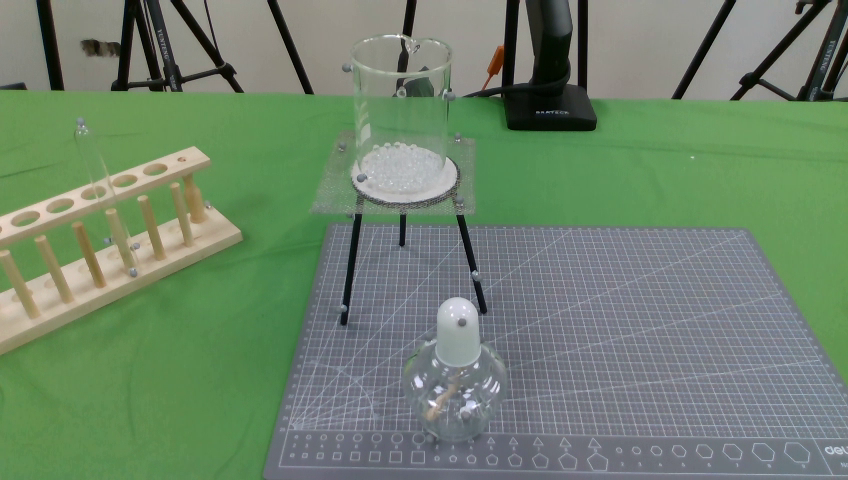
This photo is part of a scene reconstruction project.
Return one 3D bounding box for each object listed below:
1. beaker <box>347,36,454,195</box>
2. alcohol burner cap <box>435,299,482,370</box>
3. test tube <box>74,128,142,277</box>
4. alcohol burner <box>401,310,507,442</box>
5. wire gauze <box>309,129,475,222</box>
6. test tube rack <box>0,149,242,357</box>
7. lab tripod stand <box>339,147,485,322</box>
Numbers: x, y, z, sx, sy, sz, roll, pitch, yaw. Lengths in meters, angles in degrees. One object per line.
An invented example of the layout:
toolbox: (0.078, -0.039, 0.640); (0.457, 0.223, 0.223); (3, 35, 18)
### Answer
beaker: (-0.017, -0.093, 0.456); (0.074, 0.101, 0.083); (8, 39, 7)
alcohol burner cap: (0.023, 0.061, 0.407); (0.034, 0.048, 0.033); (-1, 38, 2)
test tube: (-0.275, -0.028, 0.529); (0.017, 0.151, 0.017); (1, 37, 0)
alcohol burner: (0.022, 0.089, 0.430); (0.078, 0.120, 0.077); (1, 40, 0)
wire gauze: (-0.020, -0.054, 0.485); (0.121, 0.011, 0.124); (3, 41, 2)
test tube rack: (-0.300, 0.005, 0.559); (0.242, 0.086, 0.066); (-30, 47, -32)
lab tripod stand: (-0.012, -0.003, 0.528); (0.148, 0.132, 0.147); (2, 38, -1)
